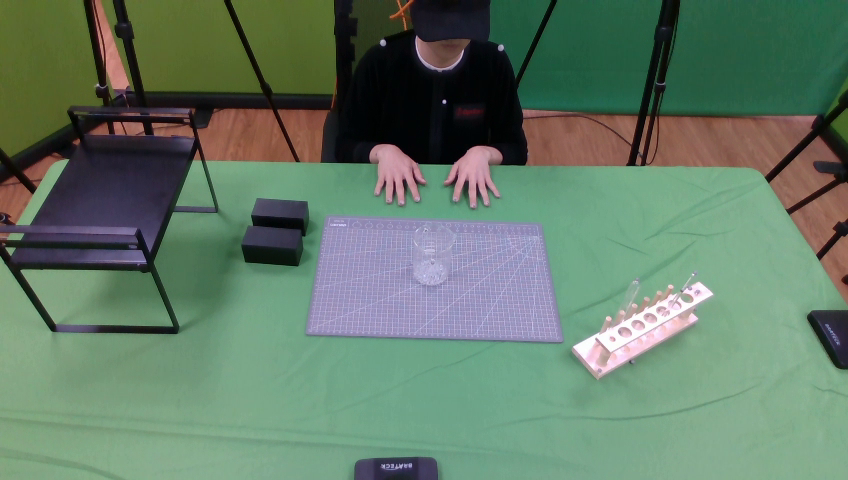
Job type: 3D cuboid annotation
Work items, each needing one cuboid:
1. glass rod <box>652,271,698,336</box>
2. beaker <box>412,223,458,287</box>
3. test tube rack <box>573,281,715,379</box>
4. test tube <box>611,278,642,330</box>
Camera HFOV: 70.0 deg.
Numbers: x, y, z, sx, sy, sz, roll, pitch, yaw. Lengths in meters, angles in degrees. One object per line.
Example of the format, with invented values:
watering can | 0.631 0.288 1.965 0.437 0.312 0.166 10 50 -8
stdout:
glass rod | 0.403 0.108 0.979 0.008 0.201 0.008 1 53 -1
beaker | 0.018 0.030 1.109 0.084 0.101 0.073 -10 48 -14
test tube rack | 0.378 0.140 1.038 0.242 0.085 0.066 -22 51 -23
test tube | 0.332 0.113 0.999 0.017 0.151 0.017 1 48 -1
